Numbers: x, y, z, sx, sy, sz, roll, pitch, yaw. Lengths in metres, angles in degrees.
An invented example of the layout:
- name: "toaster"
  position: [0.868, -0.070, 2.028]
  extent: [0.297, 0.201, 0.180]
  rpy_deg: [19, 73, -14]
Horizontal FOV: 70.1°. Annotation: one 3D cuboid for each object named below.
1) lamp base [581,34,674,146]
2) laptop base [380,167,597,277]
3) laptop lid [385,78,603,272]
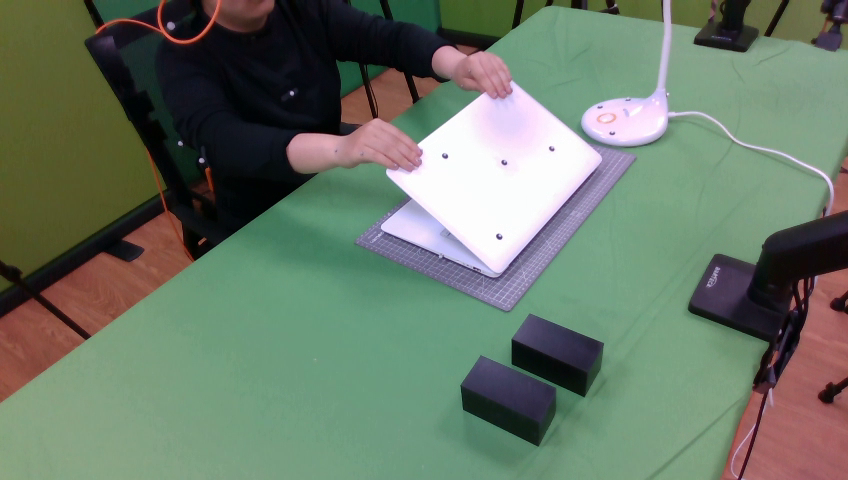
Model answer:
- name: "lamp base"
  position: [0.392, -0.291, 1.129]
  extent: [0.180, 0.181, 0.159]
  rpy_deg: [-11, 41, -8]
- name: "laptop base"
  position: [0.122, -0.077, 1.043]
  extent: [0.233, 0.023, 0.355]
  rpy_deg: [20, 47, 33]
- name: "laptop lid"
  position: [0.129, -0.124, 0.988]
  extent: [0.241, 0.013, 0.358]
  rpy_deg: [43, 55, 8]
